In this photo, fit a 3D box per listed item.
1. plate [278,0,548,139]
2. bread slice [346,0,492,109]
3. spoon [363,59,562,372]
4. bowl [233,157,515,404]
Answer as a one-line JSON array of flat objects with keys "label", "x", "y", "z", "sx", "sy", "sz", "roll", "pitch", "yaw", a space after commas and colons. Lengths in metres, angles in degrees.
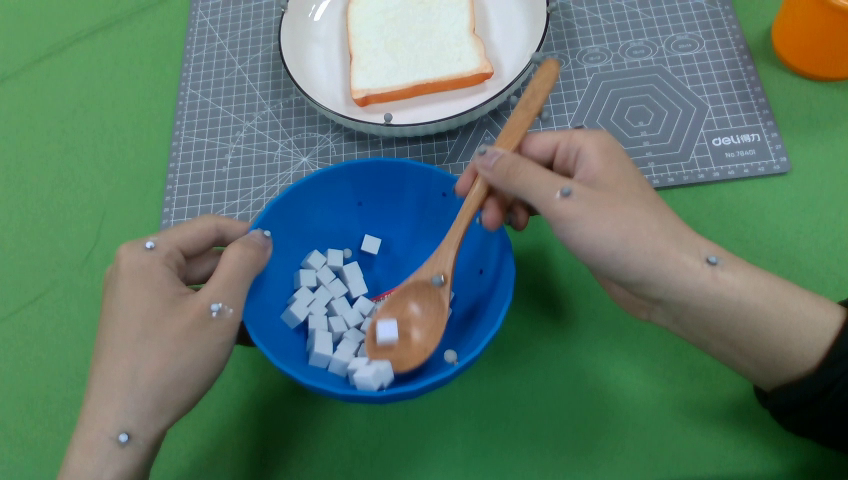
[{"label": "plate", "x": -0.010, "y": -0.163, "z": 0.478, "sx": 0.209, "sy": 0.038, "sz": 0.207, "roll": -3, "pitch": 65, "yaw": 7}, {"label": "bread slice", "x": -0.013, "y": -0.167, "z": 0.483, "sx": 0.107, "sy": 0.018, "sz": 0.133, "roll": -13, "pitch": 66, "yaw": 3}, {"label": "spoon", "x": 0.025, "y": -0.015, "z": 0.327, "sx": 0.041, "sy": 0.022, "sz": 0.193, "roll": 30, "pitch": 90, "yaw": 26}, {"label": "bowl", "x": -0.026, "y": 0.033, "z": 0.356, "sx": 0.151, "sy": 0.077, "sz": 0.150, "roll": 1, "pitch": 57, "yaw": -1}]
